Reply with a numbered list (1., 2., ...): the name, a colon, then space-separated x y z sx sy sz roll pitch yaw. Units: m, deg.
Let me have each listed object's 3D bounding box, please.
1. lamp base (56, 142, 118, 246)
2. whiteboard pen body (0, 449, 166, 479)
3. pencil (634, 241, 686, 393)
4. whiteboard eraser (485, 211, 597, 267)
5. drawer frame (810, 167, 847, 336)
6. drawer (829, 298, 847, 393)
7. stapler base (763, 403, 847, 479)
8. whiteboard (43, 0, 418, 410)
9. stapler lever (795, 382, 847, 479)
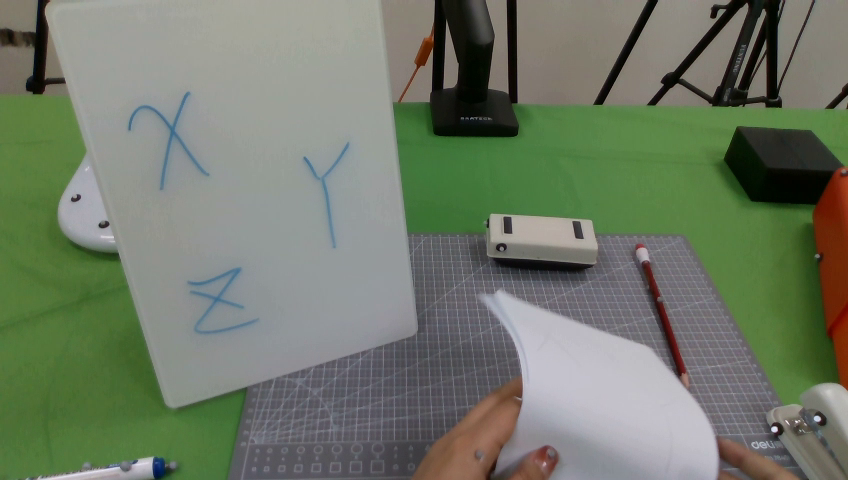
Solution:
1. lamp base: -0.322 -0.111 0.625 0.177 0.182 0.160 27 45 29
2. whiteboard pen body: -0.258 0.167 0.427 0.141 0.017 0.017 -6 41 -11
3. pencil: 0.228 0.067 0.589 0.012 0.012 0.192 4 42 0
4. whiteboard eraser: 0.121 0.000 0.634 0.113 0.042 0.055 5 41 1
5. drawer frame: 0.510 0.031 0.601 0.201 0.083 0.212 16 41 15
6. drawer: 0.485 0.072 0.552 0.194 0.074 0.210 15 41 15
7. stapler base: 0.313 0.175 0.456 0.041 0.024 0.129 -7 44 -12
8. whiteboard: -0.143 -0.051 0.516 0.218 0.307 0.142 -14 23 -18
9. stapler lever: 0.316 0.157 0.438 0.027 0.040 0.116 -7 44 -12
